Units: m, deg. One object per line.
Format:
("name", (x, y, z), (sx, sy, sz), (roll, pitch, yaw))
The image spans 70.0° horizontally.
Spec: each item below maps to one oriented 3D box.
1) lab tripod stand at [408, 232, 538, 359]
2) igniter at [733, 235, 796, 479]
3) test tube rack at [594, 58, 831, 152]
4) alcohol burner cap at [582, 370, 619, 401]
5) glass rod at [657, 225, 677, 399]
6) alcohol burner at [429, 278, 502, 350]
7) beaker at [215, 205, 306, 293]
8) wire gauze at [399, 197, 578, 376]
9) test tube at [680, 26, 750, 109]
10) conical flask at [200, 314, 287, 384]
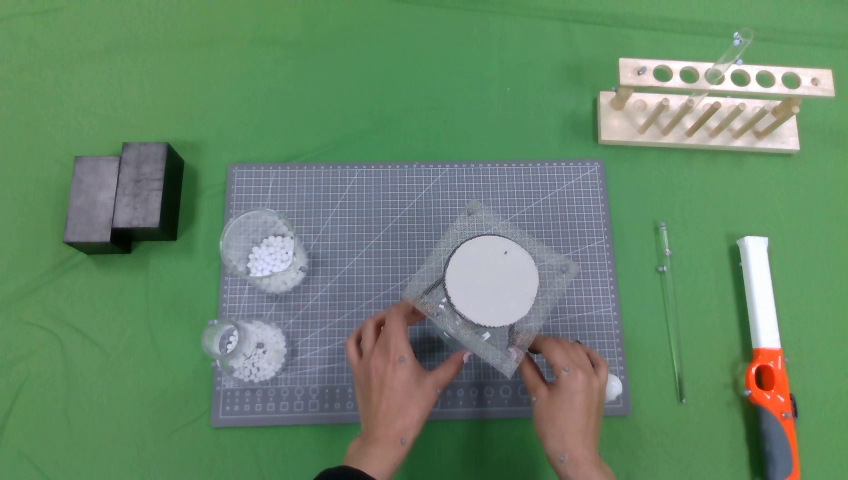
("lab tripod stand", (0.056, 0.054, 0.621), (0.148, 0.132, 0.147), (0, 76, 0))
("igniter", (0.374, 0.128, 0.668), (0.057, 0.025, 0.275), (4, 74, -12))
("test tube rack", (0.333, -0.157, 0.714), (0.242, 0.085, 0.066), (3, 74, -1))
("alcohol burner cap", (0.190, 0.154, 0.645), (0.034, 0.048, 0.033), (1, 74, -2))
("glass rod", (0.276, 0.079, 0.688), (0.008, 0.008, 0.198), (1, 77, -2))
("alcohol burner", (0.044, 0.073, 0.625), (0.078, 0.119, 0.077), (0, 75, 0))
("beaker", (-0.165, 0.016, 0.642), (0.084, 0.100, 0.074), (35, 77, 7))
("wire gauze", (0.059, 0.038, 0.555), (0.125, 0.011, 0.121), (35, 78, 8))
("test tube", (0.318, -0.185, 0.670), (0.017, 0.151, 0.017), (0, 74, 1))
("conical flask", (-0.185, 0.103, 0.606), (0.075, 0.122, 0.075), (1, 74, -1))
